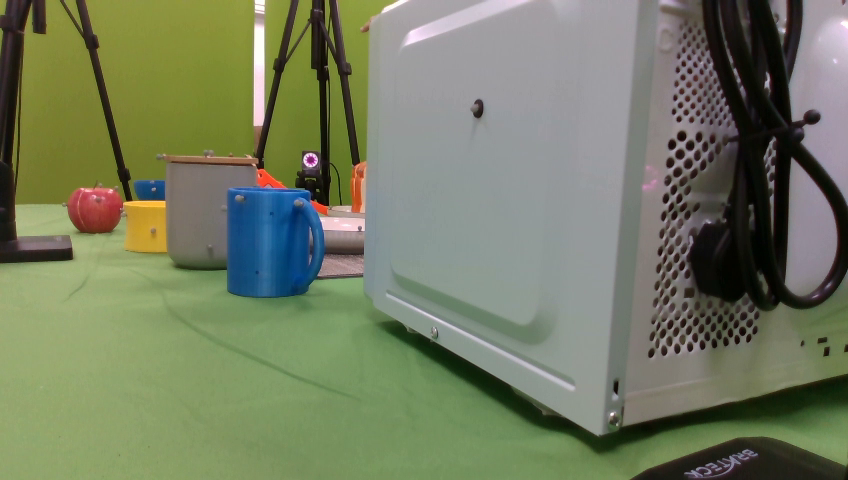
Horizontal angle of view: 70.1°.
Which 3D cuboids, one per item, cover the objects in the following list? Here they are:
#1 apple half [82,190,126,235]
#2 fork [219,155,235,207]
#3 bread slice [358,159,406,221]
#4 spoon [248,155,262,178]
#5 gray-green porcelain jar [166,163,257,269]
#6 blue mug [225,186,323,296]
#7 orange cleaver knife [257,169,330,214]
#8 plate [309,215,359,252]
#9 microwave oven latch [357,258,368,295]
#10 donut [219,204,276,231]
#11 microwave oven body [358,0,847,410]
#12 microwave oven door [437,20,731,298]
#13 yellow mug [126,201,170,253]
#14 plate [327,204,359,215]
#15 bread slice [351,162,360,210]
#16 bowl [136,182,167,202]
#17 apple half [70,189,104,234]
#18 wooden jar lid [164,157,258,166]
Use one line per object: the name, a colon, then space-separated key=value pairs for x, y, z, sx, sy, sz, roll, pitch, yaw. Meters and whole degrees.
apple half: x=-0.516 y=-0.046 z=0.994 sx=0.032 sy=0.081 sz=0.081 roll=0 pitch=6 yaw=26
fork: x=-0.459 y=-0.134 z=1.415 sx=0.028 sy=0.018 sz=0.207 roll=-1 pitch=-34 yaw=-24
bread slice: x=-0.089 y=-0.105 z=1.277 sx=0.105 sy=0.131 sz=0.019 roll=-1 pitch=0 yaw=-23
spoon: x=-0.417 y=-0.150 z=1.543 sx=0.042 sy=0.193 sz=0.021 roll=-6 pitch=-34 yaw=-32
gray-green porcelain jar: x=-0.263 y=-0.031 z=0.754 sx=0.106 sy=0.126 sz=0.106 roll=2 pitch=7 yaw=0
blue mug: x=-0.148 y=0.000 z=0.618 sx=0.116 sy=0.106 sz=0.083 roll=7 pitch=9 yaw=33
orange cleaver knife: x=-0.285 y=-0.082 z=1.300 sx=0.212 sy=0.077 sz=0.012 roll=25 pitch=-4 yaw=-30
plate: x=-0.130 y=-0.011 z=0.945 sx=0.208 sy=0.039 sz=0.207 roll=2 pitch=7 yaw=0
microwave oven latch: x=-0.019 y=0.031 z=0.529 sx=0.079 sy=0.029 sz=0.030 roll=-1 pitch=7 yaw=-27
donut: x=-0.316 y=-0.039 z=1.083 sx=0.099 sy=0.048 sz=0.099 roll=2 pitch=6 yaw=0
microwave oven body: x=0.210 y=-0.051 z=0.471 sx=0.444 sy=0.260 sz=0.324 roll=-1 pitch=7 yaw=-28
microwave oven door: x=0.181 y=-0.076 z=0.618 sx=0.358 sy=0.243 sz=0.039 roll=-2 pitch=9 yaw=-28
yellow mug: x=-0.361 y=-0.019 z=0.866 sx=0.130 sy=0.064 sz=0.100 roll=6 pitch=9 yaw=27
plate: x=-0.102 y=-0.053 z=1.299 sx=0.209 sy=0.038 sz=0.209 roll=2 pitch=7 yaw=0
bread slice: x=-0.107 y=-0.112 z=1.328 sx=0.107 sy=0.134 sz=0.018 roll=0 pitch=-2 yaw=-27
bowl: x=-0.497 y=-0.076 z=1.221 sx=0.151 sy=0.077 sz=0.151 roll=2 pitch=8 yaw=0
apple half: x=-0.552 y=-0.048 z=1.010 sx=0.053 sy=0.074 sz=0.081 roll=-1 pitch=9 yaw=26
wooden jar lid: x=-0.261 y=-0.093 z=0.746 sx=0.108 sy=0.020 sz=0.108 roll=0 pitch=9 yaw=0
